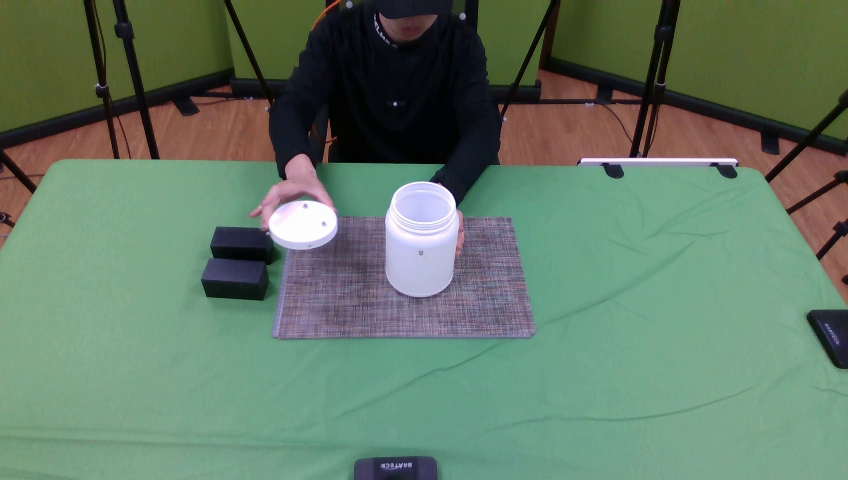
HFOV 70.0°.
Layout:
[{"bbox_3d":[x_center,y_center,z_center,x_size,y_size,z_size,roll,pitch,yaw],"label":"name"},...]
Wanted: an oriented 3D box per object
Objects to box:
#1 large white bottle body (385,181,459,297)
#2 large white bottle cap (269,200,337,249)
[{"bbox_3d":[-0.006,-0.002,1.081,0.131,0.185,0.130,2,46,-2],"label":"large white bottle body"},{"bbox_3d":[-0.207,-0.028,1.040,0.115,0.018,0.114,2,41,-2],"label":"large white bottle cap"}]
